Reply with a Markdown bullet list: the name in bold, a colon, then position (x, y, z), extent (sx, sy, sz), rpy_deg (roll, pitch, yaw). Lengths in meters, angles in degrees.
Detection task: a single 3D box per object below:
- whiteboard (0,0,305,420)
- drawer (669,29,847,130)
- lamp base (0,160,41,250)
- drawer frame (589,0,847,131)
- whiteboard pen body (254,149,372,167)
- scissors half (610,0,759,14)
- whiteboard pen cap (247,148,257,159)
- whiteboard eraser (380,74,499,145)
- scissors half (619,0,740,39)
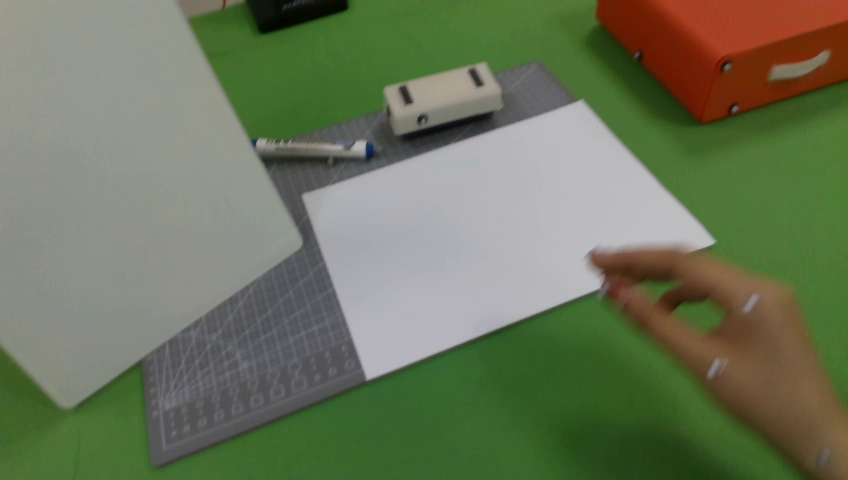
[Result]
- **whiteboard**: position (-0.270, -0.066, 0.456), extent (0.217, 0.308, 0.142), rpy_deg (-37, 35, -23)
- **drawer**: position (0.317, -0.223, 0.637), extent (0.195, 0.074, 0.209), rpy_deg (-18, 48, -8)
- **lamp base**: position (-0.476, -0.075, 0.534), extent (0.178, 0.182, 0.159), rpy_deg (10, 51, 19)
- **drawer frame**: position (0.316, -0.225, 0.638), extent (0.202, 0.083, 0.211), rpy_deg (-19, 49, -9)
- **whiteboard pen body**: position (-0.122, -0.081, 0.600), extent (0.141, 0.017, 0.017), rpy_deg (1, 49, 4)
- **scissors half**: position (0.312, -0.289, 0.720), extent (0.174, 0.040, 0.012), rpy_deg (-4, 46, 23)
- **whiteboard pen cap**: position (-0.182, -0.084, 0.604), extent (0.033, 0.018, 0.018), rpy_deg (1, 48, 2)
- **whiteboard eraser**: position (0.015, -0.130, 0.614), extent (0.113, 0.042, 0.055), rpy_deg (-16, 47, -7)
- **scissors half**: position (0.317, -0.281, 0.728), extent (0.174, 0.040, 0.012), rpy_deg (-16, 47, 37)
